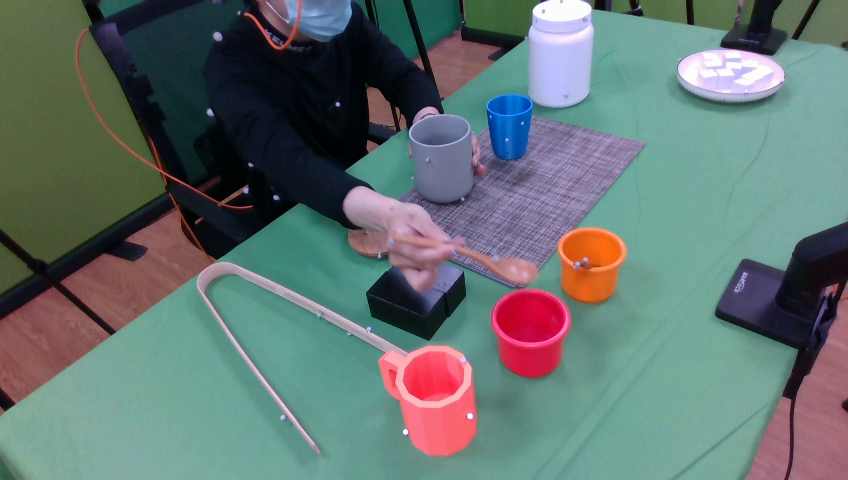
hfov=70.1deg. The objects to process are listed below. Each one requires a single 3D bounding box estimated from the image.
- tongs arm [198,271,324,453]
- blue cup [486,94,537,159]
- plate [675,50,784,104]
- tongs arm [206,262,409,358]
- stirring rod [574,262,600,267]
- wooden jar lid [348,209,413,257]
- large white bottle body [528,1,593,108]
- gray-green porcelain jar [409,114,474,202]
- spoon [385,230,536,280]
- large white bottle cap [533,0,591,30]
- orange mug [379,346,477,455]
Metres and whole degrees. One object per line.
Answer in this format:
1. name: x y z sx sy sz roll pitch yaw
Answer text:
1. tongs arm: -0.236 0.153 0.831 0.028 0.028 0.384 -37 48 -18
2. blue cup: 0.161 -0.208 1.129 0.092 0.100 0.092 -4 39 4
3. plate: 0.632 -0.336 1.262 0.207 0.039 0.206 -4 41 4
4. tongs arm: -0.179 0.106 0.870 0.381 0.026 0.051 23 54 32
5. stirring rod: 0.222 0.033 0.816 0.014 0.006 0.177 9 1 22
6. wooden jar lid: -0.071 -0.010 0.997 0.108 0.021 0.108 -4 44 5
7. large white bottle body: 0.283 -0.386 1.259 0.130 0.185 0.130 -5 41 4
8. gray-green porcelain jar: 0.033 -0.137 1.046 0.106 0.127 0.105 -4 41 4
9. spoon: 0.046 0.014 0.718 0.195 0.021 0.041 18 40 -19
10. large white bottle cap: 0.274 -0.449 1.204 0.115 0.018 0.114 -4 41 4
11. orange mug: 0.002 0.179 0.708 0.125 0.101 0.083 25 50 27
